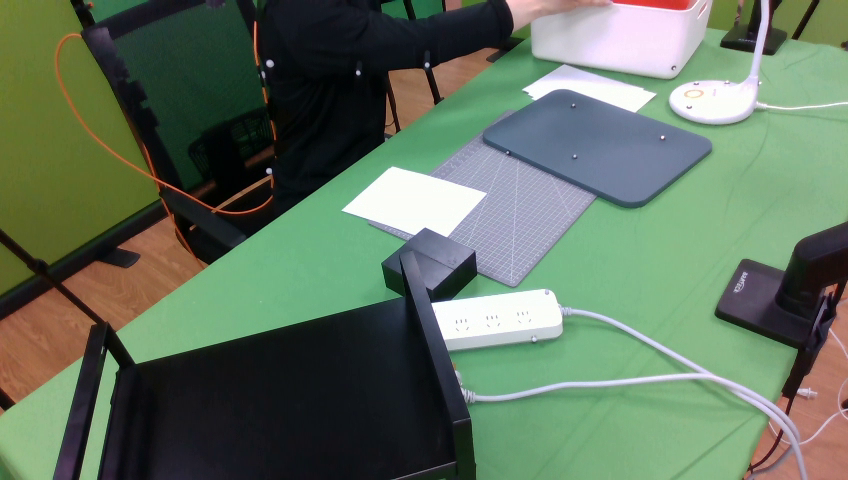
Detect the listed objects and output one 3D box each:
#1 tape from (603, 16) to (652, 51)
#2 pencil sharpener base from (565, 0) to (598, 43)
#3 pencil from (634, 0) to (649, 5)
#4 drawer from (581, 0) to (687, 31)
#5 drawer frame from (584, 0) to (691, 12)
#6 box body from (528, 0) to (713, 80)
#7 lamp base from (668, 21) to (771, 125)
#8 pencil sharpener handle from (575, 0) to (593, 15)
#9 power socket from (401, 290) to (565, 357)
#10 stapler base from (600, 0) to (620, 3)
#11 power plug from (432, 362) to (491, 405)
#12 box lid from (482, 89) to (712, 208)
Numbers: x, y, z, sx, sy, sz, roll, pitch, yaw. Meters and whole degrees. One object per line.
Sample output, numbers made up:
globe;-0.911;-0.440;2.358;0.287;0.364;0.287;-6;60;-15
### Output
tape;0.488;-0.495;1.449;0.117;0.053;0.116;-10;30;6
pencil sharpener base;0.387;-0.551;1.483;0.061;0.107;0.077;14;45;24
pencil;0.458;-0.546;1.356;0.195;0.012;0.012;-10;33;-44
drawer;0.468;-0.547;1.330;0.211;0.073;0.194;24;39;9
drawer frame;0.470;-0.548;1.329;0.213;0.083;0.202;24;39;8
box body;0.451;-0.513;1.398;0.361;0.161;0.254;19;48;28
lamp base;0.577;-0.333;1.155;0.179;0.181;0.160;6;42;12
pencil sharpener handle;0.400;-0.595;1.509;0.036;0.067;0.030;36;50;0
power socket;0.080;0.113;0.821;0.227;0.033;0.072;-7;41;0
stapler base;0.426;-0.555;1.356;0.041;0.024;0.131;37;41;20
power plug;0.045;0.182;0.758;0.073;0.035;0.052;22;43;-18
box lid;0.320;-0.190;1.156;0.264;0.015;0.368;-33;47;-28
